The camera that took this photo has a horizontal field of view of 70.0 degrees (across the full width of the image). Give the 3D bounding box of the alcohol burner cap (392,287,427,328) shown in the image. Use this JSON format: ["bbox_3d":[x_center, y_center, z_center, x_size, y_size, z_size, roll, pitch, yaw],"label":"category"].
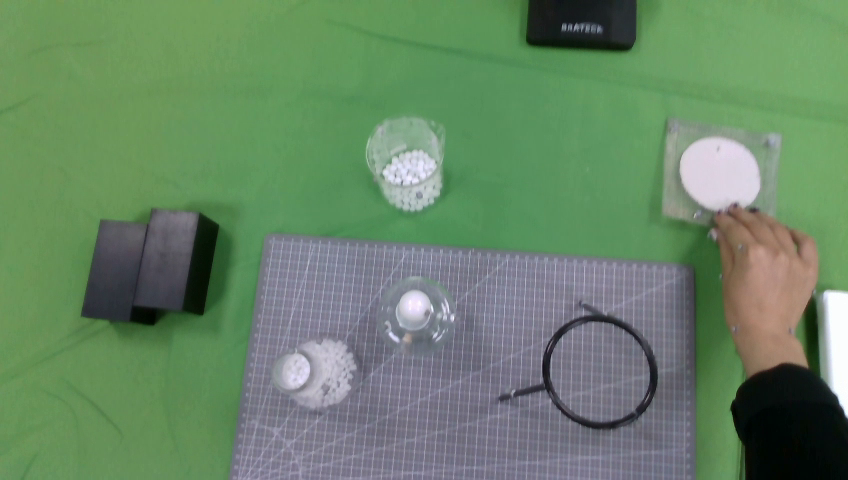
[{"bbox_3d":[-0.011,0.058,0.535,0.034,0.048,0.033,2,72,-6],"label":"alcohol burner cap"}]

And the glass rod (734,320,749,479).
[{"bbox_3d":[0.308,0.177,0.590,0.008,0.008,0.199,8,78,4],"label":"glass rod"}]

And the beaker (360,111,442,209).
[{"bbox_3d":[-0.017,-0.077,0.611,0.084,0.100,0.073,-36,79,-6],"label":"beaker"}]

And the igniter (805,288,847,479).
[{"bbox_3d":[0.389,0.183,0.576,0.057,0.025,0.275,5,78,-7],"label":"igniter"}]

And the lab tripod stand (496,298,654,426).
[{"bbox_3d":[0.137,0.118,0.543,0.148,0.132,0.148,-1,80,3],"label":"lab tripod stand"}]

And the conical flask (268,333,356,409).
[{"bbox_3d":[-0.108,0.120,0.559,0.075,0.122,0.075,0,78,3],"label":"conical flask"}]

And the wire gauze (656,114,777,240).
[{"bbox_3d":[0.310,-0.071,0.641,0.125,0.011,0.121,12,76,1],"label":"wire gauze"}]

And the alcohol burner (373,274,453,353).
[{"bbox_3d":[-0.011,0.067,0.570,0.078,0.119,0.077,0,77,1],"label":"alcohol burner"}]
